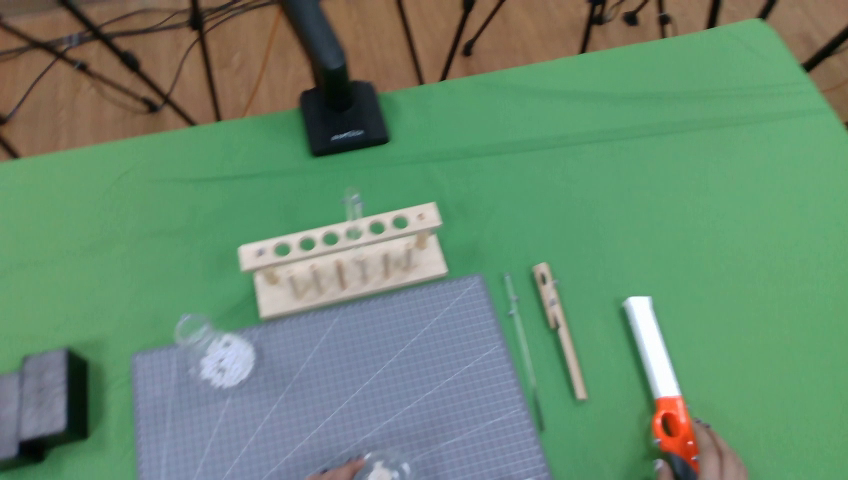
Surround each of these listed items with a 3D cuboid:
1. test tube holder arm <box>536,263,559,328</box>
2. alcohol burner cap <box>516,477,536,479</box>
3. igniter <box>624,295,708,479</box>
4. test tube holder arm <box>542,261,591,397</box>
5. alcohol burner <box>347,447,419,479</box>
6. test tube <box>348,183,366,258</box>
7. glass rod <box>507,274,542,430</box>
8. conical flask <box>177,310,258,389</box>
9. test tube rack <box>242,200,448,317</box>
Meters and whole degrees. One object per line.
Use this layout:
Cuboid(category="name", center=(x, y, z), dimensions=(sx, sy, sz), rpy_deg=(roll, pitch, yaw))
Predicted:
Cuboid(category="test tube holder arm", center=(0.161, 0.071, 0.778), dimensions=(0.010, 0.015, 0.087), rpy_deg=(-27, 61, 26))
Cuboid(category="alcohol burner cap", center=(0.111, 0.271, 0.655), dimensions=(0.034, 0.048, 0.033), rpy_deg=(0, 61, 0))
Cuboid(category="igniter", center=(0.286, 0.193, 0.708), dimensions=(0.057, 0.025, 0.274), rpy_deg=(1, 61, -15))
Cuboid(category="test tube holder arm", center=(0.175, 0.108, 0.756), dimensions=(0.013, 0.015, 0.176), rpy_deg=(-27, 60, 25))
Cuboid(category="alcohol burner", center=(-0.043, 0.251, 0.624), dimensions=(0.078, 0.120, 0.077), rpy_deg=(-1, 61, 2))
Cuboid(category="test tube", center=(-0.080, -0.019, 0.729), dimensions=(0.017, 0.151, 0.017), rpy_deg=(1, 59, -2))
Cuboid(category="glass rod", center=(0.123, 0.133, 0.749), dimensions=(0.008, 0.008, 0.198), rpy_deg=(-6, 65, -4))
Cuboid(category="conical flask", center=(-0.239, 0.119, 0.686), dimensions=(0.075, 0.123, 0.074), rpy_deg=(0, 62, 0))
Cuboid(category="test tube rack", center=(-0.093, 0.024, 0.762), dimensions=(0.243, 0.086, 0.066), rpy_deg=(-13, 63, -7))
